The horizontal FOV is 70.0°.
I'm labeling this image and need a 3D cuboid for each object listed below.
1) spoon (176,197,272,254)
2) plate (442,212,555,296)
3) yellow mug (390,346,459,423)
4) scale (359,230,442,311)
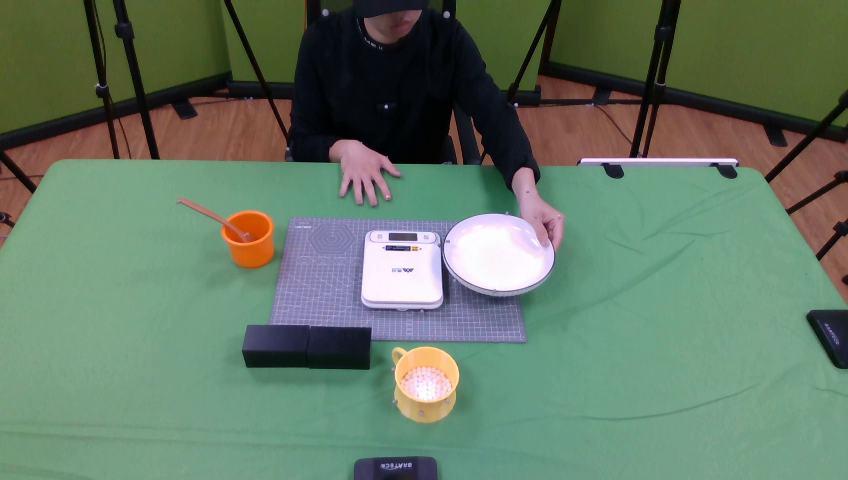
[{"bbox_3d":[-0.363,-0.028,1.108,0.021,0.195,0.041,-35,36,24],"label":"spoon"},{"bbox_3d":[0.136,0.029,1.120,0.209,0.038,0.208,1,43,0],"label":"plate"},{"bbox_3d":[-0.009,0.217,0.958,0.100,0.064,0.130,-33,56,-31],"label":"yellow mug"},{"bbox_3d":[-0.043,0.048,1.138,0.149,0.032,0.199,2,46,-3],"label":"scale"}]
